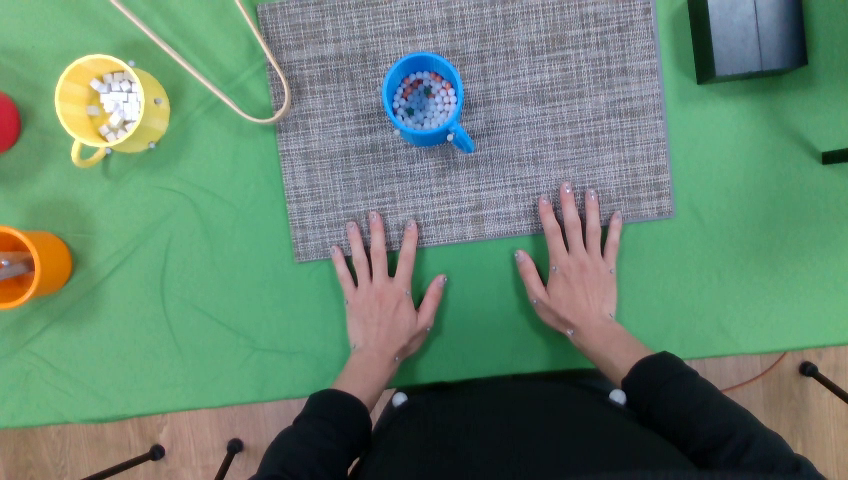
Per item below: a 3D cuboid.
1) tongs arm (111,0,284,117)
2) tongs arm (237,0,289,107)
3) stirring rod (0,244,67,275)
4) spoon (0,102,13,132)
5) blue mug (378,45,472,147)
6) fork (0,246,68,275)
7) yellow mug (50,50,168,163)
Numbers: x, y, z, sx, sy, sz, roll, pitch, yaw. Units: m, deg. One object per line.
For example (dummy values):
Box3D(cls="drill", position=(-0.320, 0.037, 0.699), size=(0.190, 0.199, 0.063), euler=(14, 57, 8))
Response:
Box3D(cls="tongs arm", position=(-0.317, -0.269, 0.670), size=(0.386, 0.026, 0.051), euler=(44, 90, -9))
Box3D(cls="tongs arm", position=(-0.253, -0.324, 0.668), size=(0.028, 0.027, 0.389), euler=(-32, 100, -5))
Box3D(cls="stirring rod", position=(-0.489, 0.038, 0.665), size=(0.176, 0.006, 0.014), euler=(-25, 88, -39))
Box3D(cls="spoon", position=(-0.560, -0.140, 0.650), size=(0.195, 0.021, 0.041), euler=(-3, 99, -42))
Box3D(cls="blue mug", position=(0.009, -0.144, 0.656), size=(0.116, 0.106, 0.082), euler=(44, 93, -2))
Box3D(cls="fork", position=(-0.502, 0.005, 0.656), size=(0.209, 0.018, 0.028), euler=(21, 89, -44))
Box3D(cls="yellow mug", position=(-0.361, -0.144, 0.685), size=(0.100, 0.064, 0.131), euler=(31, 95, -2))
